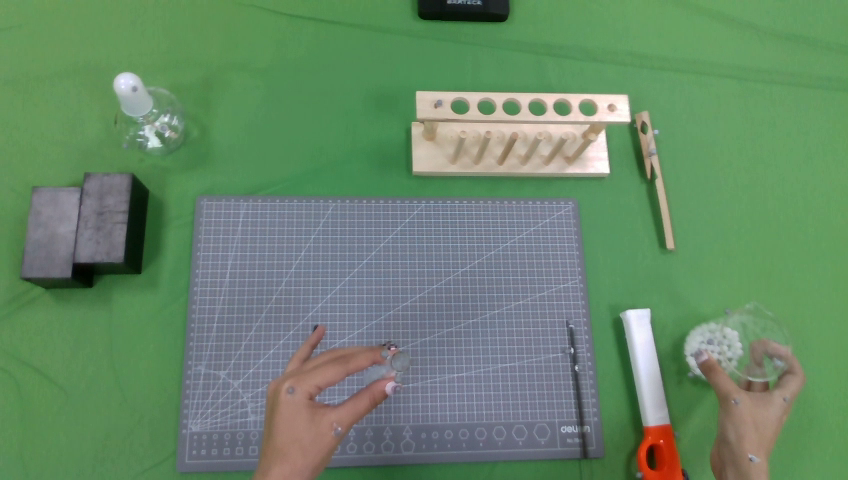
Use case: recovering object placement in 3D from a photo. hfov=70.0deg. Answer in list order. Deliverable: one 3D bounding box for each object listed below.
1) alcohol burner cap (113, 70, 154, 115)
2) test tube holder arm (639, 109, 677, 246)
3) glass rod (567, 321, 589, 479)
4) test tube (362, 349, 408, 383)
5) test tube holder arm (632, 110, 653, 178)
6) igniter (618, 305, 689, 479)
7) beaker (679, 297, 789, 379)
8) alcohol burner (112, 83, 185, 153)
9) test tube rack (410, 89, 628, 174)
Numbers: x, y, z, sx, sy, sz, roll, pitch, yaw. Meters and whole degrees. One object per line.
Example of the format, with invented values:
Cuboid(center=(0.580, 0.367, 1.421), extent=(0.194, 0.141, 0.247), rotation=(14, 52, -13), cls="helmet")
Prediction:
Cuboid(center=(-0.303, -0.156, 0.627), extent=(0.034, 0.048, 0.033), rotation=(4, 68, -9), cls="alcohol burner cap")
Cuboid(center=(0.289, -0.079, 0.751), extent=(0.013, 0.015, 0.177), rotation=(-16, 74, 27), cls="test tube holder arm")
Cuboid(center=(0.171, 0.188, 0.669), extent=(0.008, 0.008, 0.198), rotation=(-1, 74, -6), cls="glass rod")
Cuboid(center=(-0.035, 0.108, 0.510), extent=(0.017, 0.150, 0.017), rotation=(4, 73, -13), cls="test tube")
Cuboid(center=(0.277, -0.121, 0.764), extent=(0.010, 0.015, 0.087), rotation=(-15, 75, 27), cls="test tube holder arm")
Cuboid(center=(0.253, 0.209, 0.665), extent=(0.057, 0.025, 0.275), rotation=(-1, 75, -16), cls="igniter")
Cuboid(center=(0.329, 0.110, 0.655), extent=(0.074, 0.100, 0.083), rotation=(10, 75, 1), cls="beaker")
Cuboid(center=(-0.306, -0.144, 0.661), extent=(0.078, 0.119, 0.077), rotation=(1, 72, -3), cls="alcohol burner")
Cuboid(center=(0.107, -0.125, 0.712), extent=(0.243, 0.085, 0.066), rotation=(0, 74, -6), cls="test tube rack")
